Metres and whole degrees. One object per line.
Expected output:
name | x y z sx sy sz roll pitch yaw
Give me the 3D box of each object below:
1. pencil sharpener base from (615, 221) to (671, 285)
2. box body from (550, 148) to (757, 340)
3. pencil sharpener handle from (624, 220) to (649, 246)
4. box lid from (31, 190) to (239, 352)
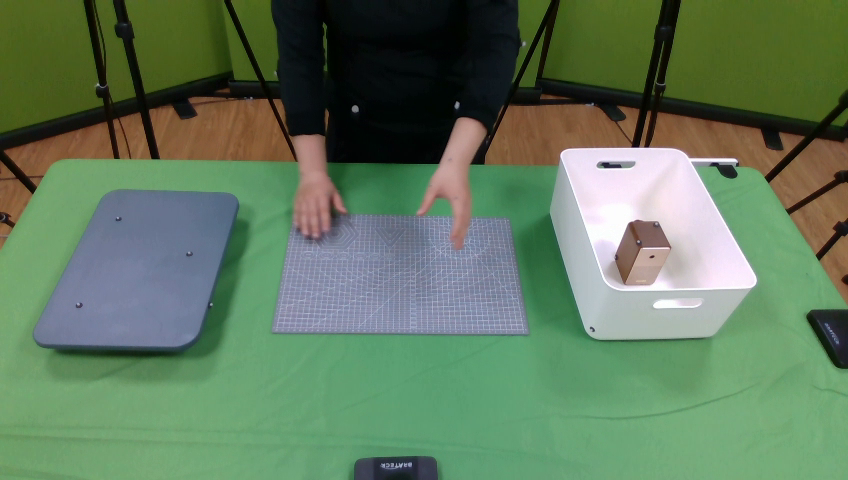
pencil sharpener base | 0.408 0.024 1.136 0.061 0.107 0.076 -1 45 -4
box body | 0.395 0.003 1.127 0.254 0.161 0.361 -1 46 -5
pencil sharpener handle | 0.402 -0.020 1.163 0.036 0.068 0.030 5 44 -10
box lid | -0.491 0.040 1.070 0.263 0.015 0.369 1 46 -3
